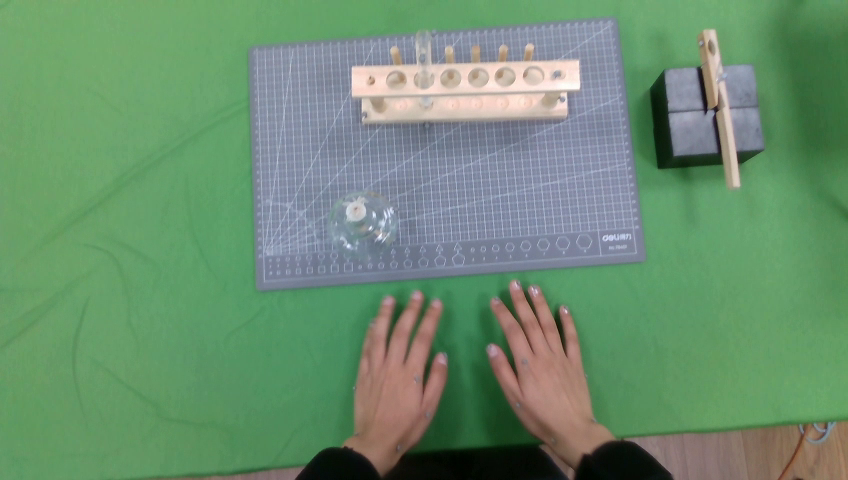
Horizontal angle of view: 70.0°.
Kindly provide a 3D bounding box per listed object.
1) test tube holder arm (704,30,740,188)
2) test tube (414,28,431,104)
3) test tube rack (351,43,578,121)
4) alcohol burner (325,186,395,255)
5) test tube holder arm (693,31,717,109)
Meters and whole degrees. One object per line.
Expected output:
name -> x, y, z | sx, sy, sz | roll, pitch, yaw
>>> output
test tube holder arm -> 0.324, -0.144, 0.665 | 0.013, 0.015, 0.178 | -8, 83, -4
test tube -> -0.001, -0.178, 0.638 | 0.017, 0.151, 0.017 | 0, 80, 1
test tube rack -> 0.044, -0.183, 0.687 | 0.242, 0.085, 0.066 | -1, 82, 1
alcohol burner -> -0.071, -0.025, 0.652 | 0.078, 0.119, 0.077 | 0, 80, 0
test tube holder arm -> 0.312, -0.188, 0.670 | 0.010, 0.015, 0.087 | -7, 83, -4
